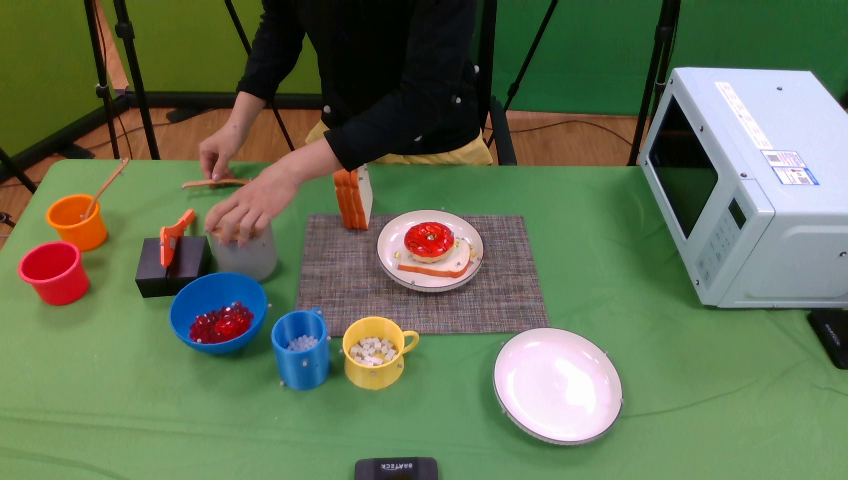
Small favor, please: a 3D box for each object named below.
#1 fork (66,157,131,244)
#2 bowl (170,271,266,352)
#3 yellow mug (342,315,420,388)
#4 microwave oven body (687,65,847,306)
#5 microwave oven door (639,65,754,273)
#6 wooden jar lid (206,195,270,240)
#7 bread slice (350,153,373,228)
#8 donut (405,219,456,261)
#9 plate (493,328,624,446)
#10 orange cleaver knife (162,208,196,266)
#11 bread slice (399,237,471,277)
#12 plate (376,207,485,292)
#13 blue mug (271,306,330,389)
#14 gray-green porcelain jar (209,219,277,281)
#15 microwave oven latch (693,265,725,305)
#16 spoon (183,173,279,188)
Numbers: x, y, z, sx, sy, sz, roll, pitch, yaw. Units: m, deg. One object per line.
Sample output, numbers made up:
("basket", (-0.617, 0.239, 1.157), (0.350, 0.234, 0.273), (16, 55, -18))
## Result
("fork", (-0.608, -0.074, 1.132), (0.207, 0.019, 0.028), (-52, 47, 10))
("bowl", (-0.333, 0.132, 1.006), (0.151, 0.077, 0.150), (2, 46, -2))
("yellow mug", (-0.068, 0.177, 0.991), (0.131, 0.064, 0.099), (-15, 50, -19))
("microwave oven body", (0.669, -0.111, 1.176), (0.326, 0.261, 0.439), (0, 46, -3))
("microwave oven door", (0.522, -0.147, 1.192), (0.039, 0.245, 0.353), (0, 47, -3))
("wooden jar lid", (-0.320, -0.036, 1.047), (0.108, 0.021, 0.107), (1, 44, -1))
("bread slice", (-0.124, -0.104, 1.207), (0.018, 0.135, 0.106), (-1, 48, 7))
("donut", (0.012, -0.001, 1.140), (0.099, 0.048, 0.098), (0, 44, 0))
("plate", (0.213, 0.236, 0.974), (0.208, 0.039, 0.206), (2, 46, -2))
("orange cleaver knife", (-0.454, -0.010, 1.129), (0.012, 0.077, 0.210), (-1, 17, -6))
("bread slice", (0.025, 0.025, 1.161), (0.131, 0.019, 0.104), (7, 47, 8))
("plate", (0.012, 0.021, 1.159), (0.209, 0.038, 0.208), (2, 47, -2))
("blue mug", (-0.188, 0.163, 0.969), (0.082, 0.106, 0.116), (15, 47, 10))
("gray-green porcelain jar", (-0.323, 0.007, 1.092), (0.106, 0.127, 0.105), (2, 46, -2))
("microwave oven latch", (0.523, 0.081, 1.115), (0.030, 0.029, 0.078), (2, 46, -1))
("spoon", (-0.404, -0.125, 1.274), (0.194, 0.022, 0.041), (-2, 53, -16))
